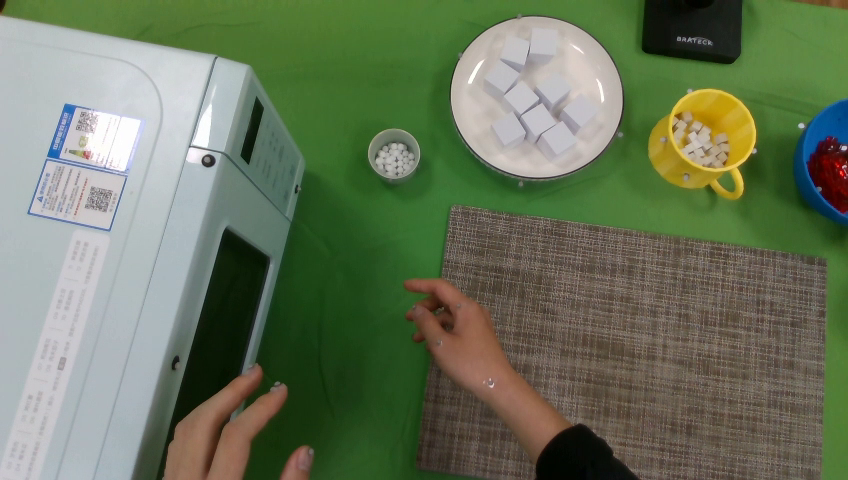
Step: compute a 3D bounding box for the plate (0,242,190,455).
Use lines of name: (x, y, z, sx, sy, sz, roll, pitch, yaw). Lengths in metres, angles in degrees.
plate: (-0.339, 0.108, 0.615, 0.209, 0.038, 0.208, 0, 81, -1)

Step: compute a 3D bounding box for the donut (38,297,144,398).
donut: (-0.328, 0.106, 0.601, 0.099, 0.048, 0.098, 0, 83, -3)

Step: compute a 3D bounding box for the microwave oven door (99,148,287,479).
microwave oven door: (-0.207, 0.119, 0.555, 0.039, 0.244, 0.354, 11, 80, 2)

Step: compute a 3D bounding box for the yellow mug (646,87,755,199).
yellow mug: (0.330, -0.106, 0.710, 0.100, 0.064, 0.130, -28, 82, -6)

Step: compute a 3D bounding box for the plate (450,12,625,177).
plate: (0.135, -0.173, 0.734, 0.208, 0.039, 0.207, 0, 80, 0)

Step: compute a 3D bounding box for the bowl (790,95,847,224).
bowl: (0.488, -0.083, 0.701, 0.151, 0.077, 0.151, 0, 80, 0)

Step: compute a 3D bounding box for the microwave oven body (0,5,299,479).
microwave oven body: (-0.341, 0.049, 0.572, 0.326, 0.261, 0.440, 12, 80, 1)

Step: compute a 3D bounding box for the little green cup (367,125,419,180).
little green cup: (-0.036, -0.101, 0.717, 0.061, 0.039, 0.061, 0, 81, 0)

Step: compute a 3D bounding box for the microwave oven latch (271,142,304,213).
microwave oven latch: (-0.160, -0.073, 0.693, 0.030, 0.029, 0.079, 15, 81, 2)
